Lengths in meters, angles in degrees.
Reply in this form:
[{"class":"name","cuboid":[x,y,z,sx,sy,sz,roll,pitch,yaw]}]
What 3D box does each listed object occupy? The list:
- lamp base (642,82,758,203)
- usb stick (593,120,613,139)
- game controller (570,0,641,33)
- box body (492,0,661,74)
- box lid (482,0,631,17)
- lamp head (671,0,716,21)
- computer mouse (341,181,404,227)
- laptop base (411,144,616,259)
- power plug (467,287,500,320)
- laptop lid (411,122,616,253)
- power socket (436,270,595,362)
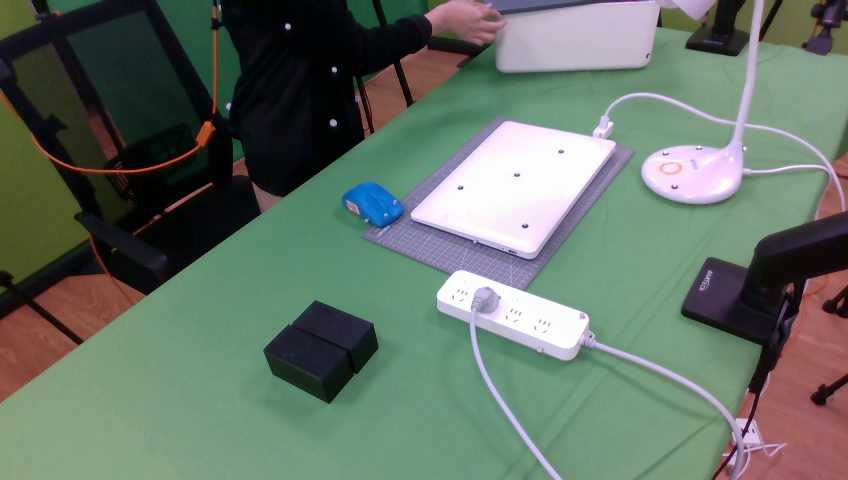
[{"class":"lamp base","cuboid":[0.464,-0.174,0.992,0.179,0.181,0.159,-5,41,-1]},{"class":"usb stick","cuboid":[0.336,-0.201,1.147,0.021,0.027,0.059,26,53,27]},{"class":"game controller","cuboid":[0.423,-0.525,1.395,0.155,0.052,0.096,-8,47,-1]},{"class":"box body","cuboid":[0.346,-0.520,1.429,0.363,0.161,0.253,0,41,9]},{"class":"box lid","cuboid":[0.314,-0.590,1.367,0.371,0.015,0.262,-5,48,7]},{"class":"lamp head","cuboid":[0.375,-0.373,0.807,0.122,0.113,0.112,-40,27,32]},{"class":"computer mouse","cuboid":[-0.091,-0.066,1.052,0.063,0.041,0.116,-33,48,-28]},{"class":"laptop base","cuboid":[0.168,-0.101,1.073,0.234,0.023,0.355,17,46,31]},{"class":"power plug","cuboid":[0.073,0.092,0.814,0.035,0.053,0.073,29,54,34]},{"class":"laptop lid","cuboid":[0.164,-0.111,1.067,0.240,0.013,0.357,19,46,31]},{"class":"power socket","cuboid":[0.118,0.101,0.832,0.225,0.033,0.072,19,48,27]}]
